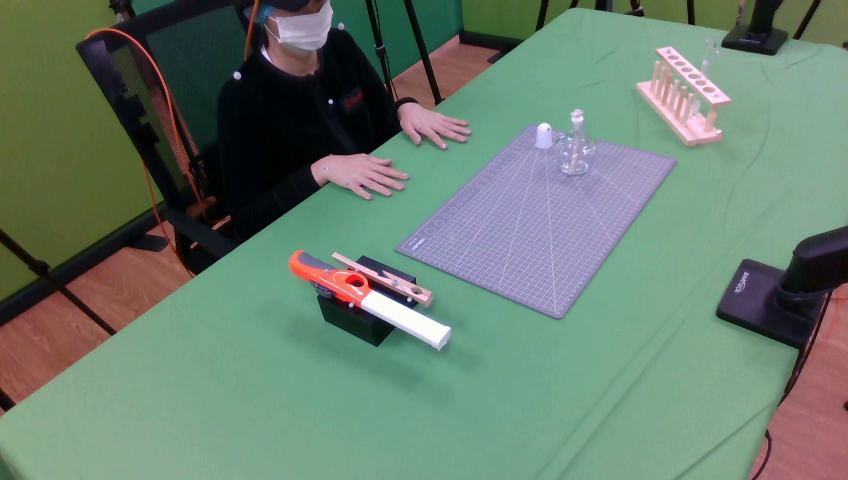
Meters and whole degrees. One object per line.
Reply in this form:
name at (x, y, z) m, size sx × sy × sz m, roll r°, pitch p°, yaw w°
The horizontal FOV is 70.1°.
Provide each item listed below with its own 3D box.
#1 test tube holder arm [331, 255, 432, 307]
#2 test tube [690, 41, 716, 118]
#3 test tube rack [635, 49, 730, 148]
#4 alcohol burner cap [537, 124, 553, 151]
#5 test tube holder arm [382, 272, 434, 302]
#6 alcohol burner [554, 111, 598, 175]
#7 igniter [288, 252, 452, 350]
test tube holder arm at (-0.064, 0.055, 0.848) m, size 0.177 × 0.015 × 0.013 m, roll 20°, pitch 54°, yaw 29°
test tube at (0.514, -0.293, 1.117) m, size 0.017 × 0.151 × 0.017 m, roll -3°, pitch 42°, yaw 3°
test tube rack at (0.497, -0.283, 1.185) m, size 0.067 × 0.085 × 0.240 m, roll -10°, pitch 40°, yaw -2°
alcohol burner cap at (0.232, -0.199, 1.158) m, size 0.034 × 0.048 × 0.033 m, roll -5°, pitch 40°, yaw 5°
test tube holder arm at (-0.024, 0.065, 0.829) m, size 0.087 × 0.015 × 0.010 m, roll 21°, pitch 54°, yaw 30°
alcohol burner at (0.270, -0.175, 1.066) m, size 0.078 × 0.119 × 0.077 m, roll -4°, pitch 42°, yaw 4°
igniter at (-0.084, 0.077, 0.821) m, size 0.274 × 0.025 × 0.057 m, roll 23°, pitch 48°, yaw 27°
